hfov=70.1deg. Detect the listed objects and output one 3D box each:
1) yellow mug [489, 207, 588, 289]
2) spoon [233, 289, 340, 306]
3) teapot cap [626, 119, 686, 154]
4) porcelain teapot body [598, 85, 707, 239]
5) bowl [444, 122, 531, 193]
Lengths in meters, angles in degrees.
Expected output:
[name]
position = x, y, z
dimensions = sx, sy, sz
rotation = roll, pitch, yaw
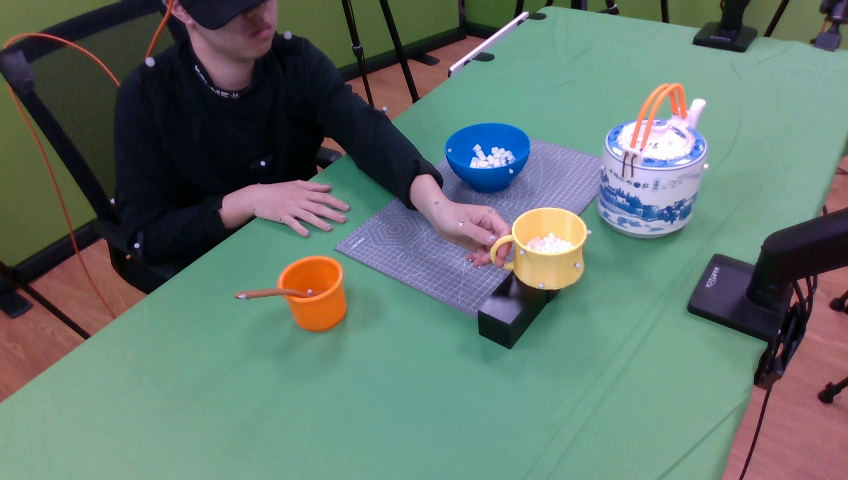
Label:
[yellow mug]
position = 0.154, 0.013, 0.821
dimensions = 0.131, 0.064, 0.099
rotation = -8, 40, 0
[spoon]
position = -0.180, 0.075, 0.811
dimensions = 0.041, 0.195, 0.021
rotation = 17, 91, 31
[teapot cap]
position = 0.338, -0.153, 0.882
dimensions = 0.085, 0.044, 0.085
rotation = -3, 38, 3
[porcelain teapot body]
position = 0.363, -0.137, 0.921
dimensions = 0.144, 0.226, 0.206
rotation = 28, 51, 36
[bowl]
position = 0.113, -0.136, 1.063
dimensions = 0.151, 0.077, 0.150
rotation = -4, 41, 4
